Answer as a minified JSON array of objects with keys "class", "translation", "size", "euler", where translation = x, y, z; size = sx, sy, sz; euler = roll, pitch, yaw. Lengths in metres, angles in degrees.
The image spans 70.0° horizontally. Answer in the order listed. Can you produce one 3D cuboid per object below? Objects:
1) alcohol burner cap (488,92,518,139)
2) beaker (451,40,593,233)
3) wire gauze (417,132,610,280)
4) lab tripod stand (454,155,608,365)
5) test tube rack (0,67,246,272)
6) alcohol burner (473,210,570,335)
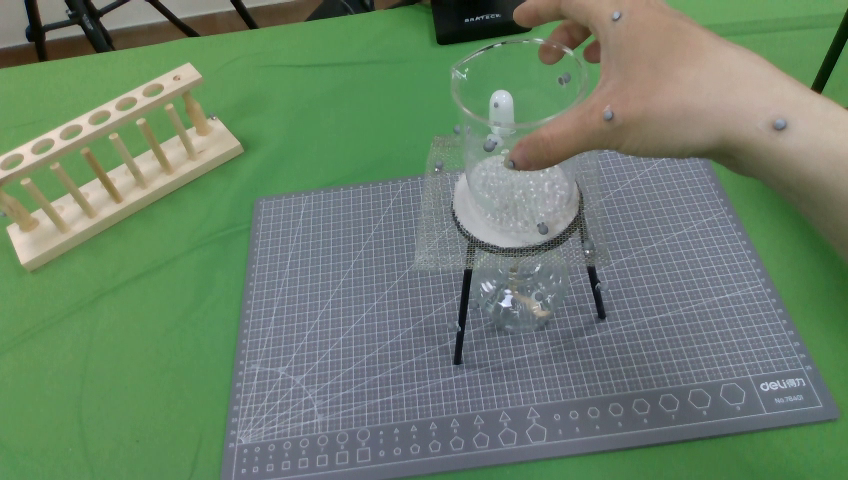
[{"class":"alcohol burner cap","translation":[0.083,-0.134,0.638],"size":[0.034,0.048,0.033],"euler":[-4,52,6]},{"class":"beaker","translation":[0.057,-0.059,0.372],"size":[0.083,0.101,0.074],"euler":[25,62,25]},{"class":"wire gauze","translation":[0.059,-0.028,0.411],"size":[0.121,0.011,0.124],"euler":[-1,56,10]},{"class":"lab tripod stand","translation":[0.071,0.017,0.459],"size":[0.148,0.133,0.147],"euler":[-4,54,5]},{"class":"test tube rack","translation":[-0.317,-0.076,0.622],"size":[0.242,0.086,0.066],"euler":[-34,55,-18]},{"class":"alcohol burner","translation":[0.074,0.021,0.468],"size":[0.078,0.120,0.077],"euler":[-5,50,6]}]
